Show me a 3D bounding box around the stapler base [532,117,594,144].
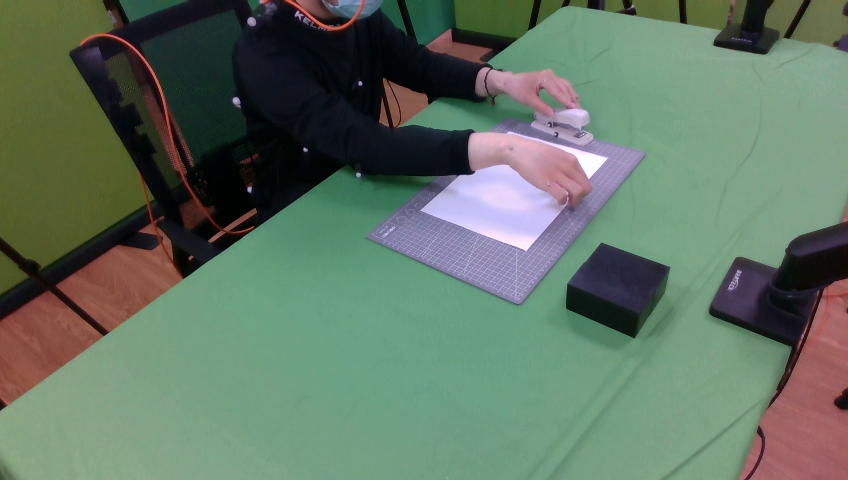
[{"bbox_3d":[0.272,-0.223,1.186,0.041,0.024,0.129,-33,45,-29],"label":"stapler base"}]

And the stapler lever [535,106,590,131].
[{"bbox_3d":[0.268,-0.243,1.170,0.027,0.040,0.117,-33,45,-29],"label":"stapler lever"}]
